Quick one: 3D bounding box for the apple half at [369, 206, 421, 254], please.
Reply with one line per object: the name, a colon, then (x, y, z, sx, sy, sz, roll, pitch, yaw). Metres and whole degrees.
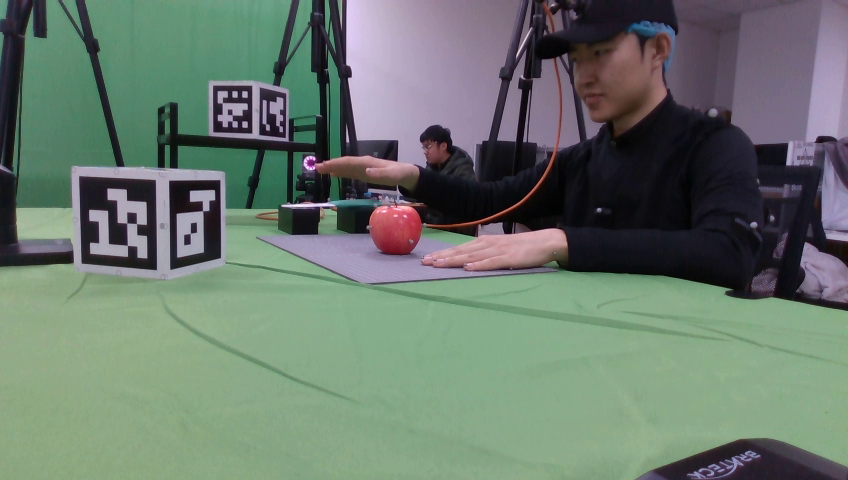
apple half: (-0.039, -0.014, 0.919, 0.081, 0.074, 0.053, 3, 10, -32)

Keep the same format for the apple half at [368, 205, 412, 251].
apple half: (-0.059, -0.020, 0.951, 0.082, 0.081, 0.032, -2, 13, -32)

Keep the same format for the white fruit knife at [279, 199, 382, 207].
white fruit knife: (-0.182, -0.072, 1.188, 0.208, 0.016, 0.027, -3, 18, -31)
